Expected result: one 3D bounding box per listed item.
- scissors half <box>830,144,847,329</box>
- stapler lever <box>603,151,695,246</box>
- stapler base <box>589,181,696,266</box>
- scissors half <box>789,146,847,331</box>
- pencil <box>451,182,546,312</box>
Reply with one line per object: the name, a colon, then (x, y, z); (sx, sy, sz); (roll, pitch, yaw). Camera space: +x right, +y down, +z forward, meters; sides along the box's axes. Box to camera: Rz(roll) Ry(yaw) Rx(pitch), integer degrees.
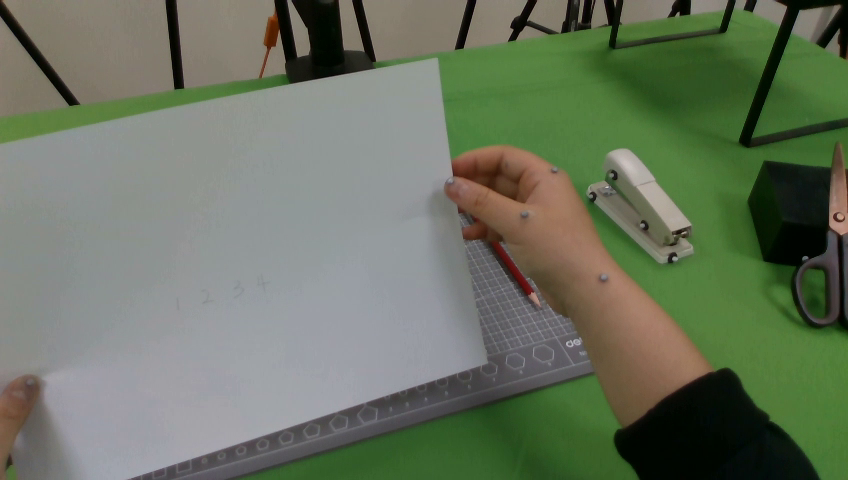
scissors half: (0.371, -0.004, 0.521); (0.040, 0.013, 0.174); (-3, 71, 17)
stapler lever: (0.217, -0.044, 0.590); (0.027, 0.040, 0.116); (-18, 46, -15)
stapler base: (0.216, -0.026, 0.608); (0.041, 0.024, 0.129); (-18, 45, -15)
scissors half: (0.353, -0.006, 0.529); (0.040, 0.013, 0.174); (14, 77, 27)
pencil: (0.068, 0.001, 0.583); (0.012, 0.012, 0.191); (-15, 45, -16)
